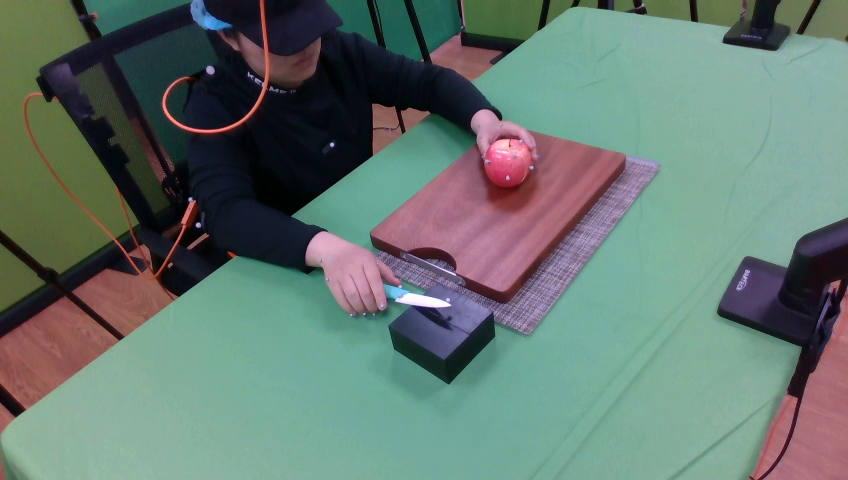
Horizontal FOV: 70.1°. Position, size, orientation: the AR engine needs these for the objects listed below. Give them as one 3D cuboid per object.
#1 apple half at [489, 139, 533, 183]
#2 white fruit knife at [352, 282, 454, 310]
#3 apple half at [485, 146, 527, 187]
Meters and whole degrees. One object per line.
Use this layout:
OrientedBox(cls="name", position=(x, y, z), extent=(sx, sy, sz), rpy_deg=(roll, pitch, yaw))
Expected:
OrientedBox(cls="apple half", position=(0.152, -0.139, 1.038), extent=(0.080, 0.075, 0.053), rpy_deg=(12, 41, 29))
OrientedBox(cls="white fruit knife", position=(-0.031, 0.079, 0.856), extent=(0.205, 0.016, 0.027), rpy_deg=(6, 39, 47))
OrientedBox(cls="apple half", position=(0.132, -0.116, 1.013), extent=(0.081, 0.081, 0.033), rpy_deg=(15, 42, 26))
